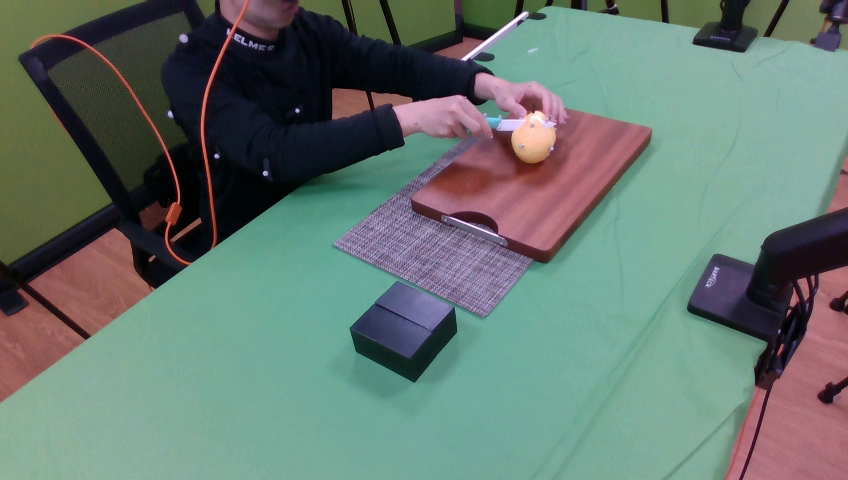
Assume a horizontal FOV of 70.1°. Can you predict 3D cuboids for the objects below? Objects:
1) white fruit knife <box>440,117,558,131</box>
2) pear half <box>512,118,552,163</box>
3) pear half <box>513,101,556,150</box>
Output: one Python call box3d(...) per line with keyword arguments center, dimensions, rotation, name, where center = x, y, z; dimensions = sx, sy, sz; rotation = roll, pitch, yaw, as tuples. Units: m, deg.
box3d(center=(0.127, -0.201, 1.046), dimensions=(0.207, 0.027, 0.016), rotation=(3, 43, 15), name="white fruit knife")
box3d(center=(0.184, -0.165, 1.040), dimensions=(0.070, 0.088, 0.031), rotation=(6, 47, 13), name="pear half")
box3d(center=(0.196, -0.198, 1.060), dimensions=(0.076, 0.110, 0.056), rotation=(10, 43, 13), name="pear half")
